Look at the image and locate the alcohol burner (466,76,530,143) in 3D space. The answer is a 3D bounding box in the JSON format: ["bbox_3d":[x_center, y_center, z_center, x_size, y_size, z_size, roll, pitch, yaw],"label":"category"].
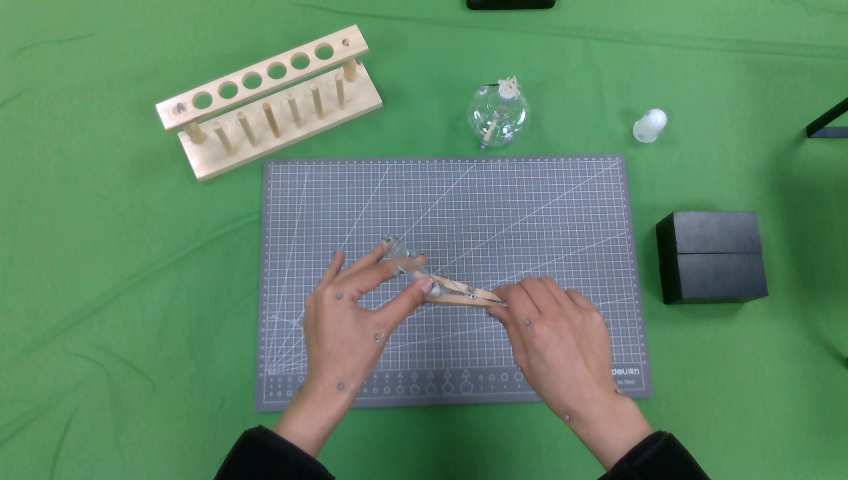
[{"bbox_3d":[0.090,-0.162,0.716,0.078,0.119,0.077,1,77,-3],"label":"alcohol burner"}]

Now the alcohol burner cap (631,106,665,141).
[{"bbox_3d":[0.283,-0.148,0.759,0.034,0.048,0.033,0,75,-1],"label":"alcohol burner cap"}]

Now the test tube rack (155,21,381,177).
[{"bbox_3d":[-0.175,-0.165,0.717,0.242,0.085,0.066,-25,78,-8],"label":"test tube rack"}]

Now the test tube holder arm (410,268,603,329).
[{"bbox_3d":[0.073,0.053,0.551,0.178,0.015,0.013,14,85,10],"label":"test tube holder arm"}]

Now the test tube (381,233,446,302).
[{"bbox_3d":[-0.004,0.028,0.523,0.017,0.151,0.017,-6,67,15],"label":"test tube"}]

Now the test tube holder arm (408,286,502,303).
[{"bbox_3d":[0.029,0.051,0.558,0.087,0.015,0.010,3,83,9],"label":"test tube holder arm"}]
